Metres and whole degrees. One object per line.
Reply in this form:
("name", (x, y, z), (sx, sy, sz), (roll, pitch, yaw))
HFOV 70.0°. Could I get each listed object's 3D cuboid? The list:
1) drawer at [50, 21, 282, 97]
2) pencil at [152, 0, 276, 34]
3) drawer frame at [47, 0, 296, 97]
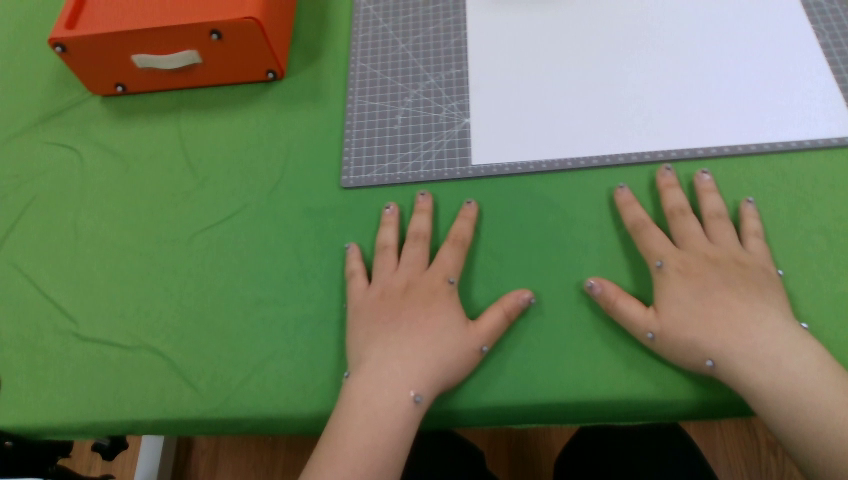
("drawer", (-0.232, -0.248, 0.605), (0.194, 0.074, 0.210), (-4, 59, 7))
("pencil", (-0.227, -0.237, 0.631), (0.192, 0.012, 0.012), (22, 66, 25))
("drawer frame", (-0.233, -0.251, 0.604), (0.201, 0.083, 0.211), (-4, 59, 7))
